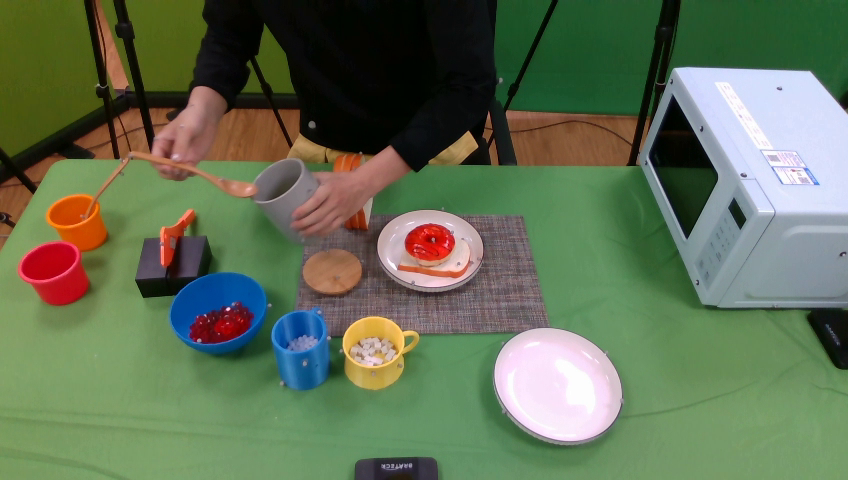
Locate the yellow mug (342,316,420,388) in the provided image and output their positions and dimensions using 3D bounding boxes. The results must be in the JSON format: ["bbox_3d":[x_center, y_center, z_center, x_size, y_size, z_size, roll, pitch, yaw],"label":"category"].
[{"bbox_3d":[-0.068,0.177,0.990,0.131,0.064,0.099,-15,50,-20],"label":"yellow mug"}]

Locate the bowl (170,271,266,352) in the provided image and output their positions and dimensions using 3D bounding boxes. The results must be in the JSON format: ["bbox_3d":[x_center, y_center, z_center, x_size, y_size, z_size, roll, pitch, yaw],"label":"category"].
[{"bbox_3d":[-0.333,0.132,1.006,0.151,0.077,0.150,2,46,-2],"label":"bowl"}]

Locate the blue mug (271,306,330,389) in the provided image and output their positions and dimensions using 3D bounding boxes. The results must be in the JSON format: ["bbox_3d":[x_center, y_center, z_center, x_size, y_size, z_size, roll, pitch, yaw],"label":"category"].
[{"bbox_3d":[-0.188,0.163,0.969,0.082,0.106,0.116,15,47,10],"label":"blue mug"}]

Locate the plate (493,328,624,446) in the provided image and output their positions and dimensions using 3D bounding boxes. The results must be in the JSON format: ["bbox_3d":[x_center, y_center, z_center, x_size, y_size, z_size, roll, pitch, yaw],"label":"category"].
[{"bbox_3d":[0.213,0.236,0.974,0.208,0.039,0.206,2,46,-2],"label":"plate"}]

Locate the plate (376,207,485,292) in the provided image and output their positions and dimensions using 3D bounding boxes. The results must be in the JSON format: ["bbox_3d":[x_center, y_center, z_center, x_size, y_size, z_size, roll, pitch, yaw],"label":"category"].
[{"bbox_3d":[0.012,0.020,1.159,0.209,0.038,0.208,2,47,-2],"label":"plate"}]

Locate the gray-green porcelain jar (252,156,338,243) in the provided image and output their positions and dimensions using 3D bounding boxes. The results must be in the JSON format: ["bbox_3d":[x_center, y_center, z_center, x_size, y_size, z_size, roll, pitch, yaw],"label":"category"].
[{"bbox_3d":[-0.216,-0.064,1.042,0.106,0.127,0.105,-16,46,18],"label":"gray-green porcelain jar"}]

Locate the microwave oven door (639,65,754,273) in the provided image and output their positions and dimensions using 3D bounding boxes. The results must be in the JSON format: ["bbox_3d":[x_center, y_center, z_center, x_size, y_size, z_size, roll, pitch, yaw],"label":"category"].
[{"bbox_3d":[0.522,-0.147,1.192,0.039,0.245,0.353,0,47,-3],"label":"microwave oven door"}]

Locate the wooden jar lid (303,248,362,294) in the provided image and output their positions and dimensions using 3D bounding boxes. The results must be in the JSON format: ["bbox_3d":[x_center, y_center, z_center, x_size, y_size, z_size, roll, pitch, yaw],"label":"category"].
[{"bbox_3d":[-0.169,0.059,1.122,0.108,0.021,0.107,2,46,-2],"label":"wooden jar lid"}]

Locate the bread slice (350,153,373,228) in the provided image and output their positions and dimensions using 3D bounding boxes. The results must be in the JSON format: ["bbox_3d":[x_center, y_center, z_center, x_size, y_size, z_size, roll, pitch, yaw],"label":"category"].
[{"bbox_3d":[-0.125,-0.104,1.207,0.018,0.135,0.106,0,48,7],"label":"bread slice"}]

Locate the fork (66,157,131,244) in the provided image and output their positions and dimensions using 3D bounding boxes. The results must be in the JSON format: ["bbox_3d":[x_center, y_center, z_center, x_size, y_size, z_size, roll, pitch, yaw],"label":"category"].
[{"bbox_3d":[-0.608,-0.074,1.132,0.207,0.019,0.028,-52,47,10],"label":"fork"}]

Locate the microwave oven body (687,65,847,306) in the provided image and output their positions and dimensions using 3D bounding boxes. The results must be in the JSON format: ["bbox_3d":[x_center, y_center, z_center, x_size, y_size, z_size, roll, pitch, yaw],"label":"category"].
[{"bbox_3d":[0.669,-0.111,1.176,0.326,0.261,0.439,0,46,-3],"label":"microwave oven body"}]

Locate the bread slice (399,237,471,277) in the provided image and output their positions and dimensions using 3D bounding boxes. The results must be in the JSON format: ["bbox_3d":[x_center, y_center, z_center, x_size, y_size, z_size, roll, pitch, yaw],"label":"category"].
[{"bbox_3d":[0.025,0.025,1.161,0.131,0.019,0.104,7,47,8],"label":"bread slice"}]

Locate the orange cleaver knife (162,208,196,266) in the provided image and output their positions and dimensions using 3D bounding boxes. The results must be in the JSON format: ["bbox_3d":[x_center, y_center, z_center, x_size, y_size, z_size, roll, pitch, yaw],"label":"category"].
[{"bbox_3d":[-0.454,-0.010,1.129,0.012,0.077,0.210,-1,17,-6],"label":"orange cleaver knife"}]

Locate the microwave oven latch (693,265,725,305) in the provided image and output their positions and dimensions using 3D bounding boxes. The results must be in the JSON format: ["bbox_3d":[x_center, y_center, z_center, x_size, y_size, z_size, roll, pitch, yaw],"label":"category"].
[{"bbox_3d":[0.522,0.081,1.115,0.030,0.029,0.078,2,46,-1],"label":"microwave oven latch"}]

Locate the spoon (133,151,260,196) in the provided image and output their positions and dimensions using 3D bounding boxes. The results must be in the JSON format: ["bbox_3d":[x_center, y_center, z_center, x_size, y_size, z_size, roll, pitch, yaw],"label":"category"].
[{"bbox_3d":[-0.357,-0.108,0.959,0.194,0.022,0.041,21,36,-23],"label":"spoon"}]

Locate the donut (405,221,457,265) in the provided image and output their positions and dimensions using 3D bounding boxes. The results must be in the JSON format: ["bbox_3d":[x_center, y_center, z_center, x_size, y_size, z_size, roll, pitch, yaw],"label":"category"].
[{"bbox_3d":[0.013,0.004,1.137,0.099,0.048,0.098,0,46,0],"label":"donut"}]
